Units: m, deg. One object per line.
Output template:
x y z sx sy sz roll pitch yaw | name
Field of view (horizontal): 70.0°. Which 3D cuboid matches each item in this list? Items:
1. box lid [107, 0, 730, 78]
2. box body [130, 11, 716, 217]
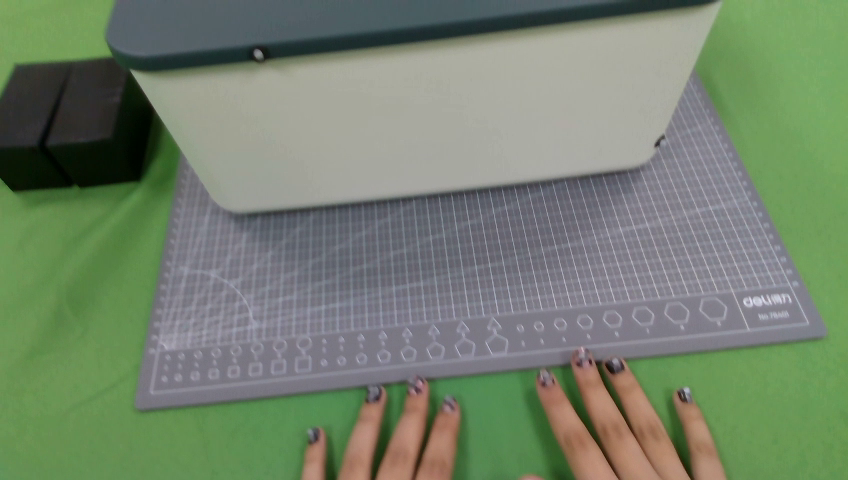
-0.012 -0.214 0.414 0.372 0.015 0.260 -7 54 -1 | box lid
-0.005 -0.170 0.474 0.364 0.162 0.251 -7 55 -1 | box body
